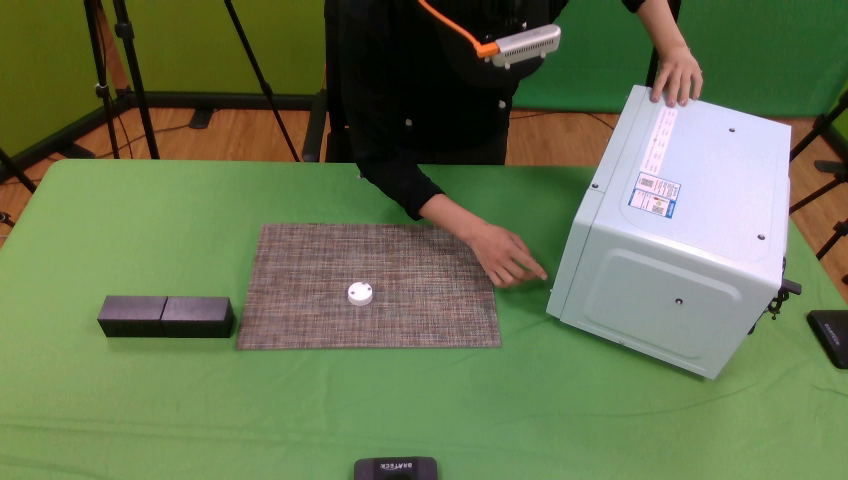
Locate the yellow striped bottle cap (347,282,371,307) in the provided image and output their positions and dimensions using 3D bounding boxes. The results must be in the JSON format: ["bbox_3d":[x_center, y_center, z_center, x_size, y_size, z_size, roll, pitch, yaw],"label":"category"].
[{"bbox_3d":[-0.117,0.098,1.093,0.044,0.019,0.044,3,45,-3],"label":"yellow striped bottle cap"}]

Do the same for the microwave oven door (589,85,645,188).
[{"bbox_3d":[0.341,-0.107,1.149,0.039,0.245,0.354,21,48,15],"label":"microwave oven door"}]

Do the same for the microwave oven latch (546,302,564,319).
[{"bbox_3d":[0.242,0.102,1.081,0.030,0.029,0.079,22,48,17],"label":"microwave oven latch"}]

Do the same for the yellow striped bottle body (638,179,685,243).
[{"bbox_3d":[0.442,-0.056,1.123,0.063,0.121,0.062,-1,47,1],"label":"yellow striped bottle body"}]

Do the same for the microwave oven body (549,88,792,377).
[{"bbox_3d":[0.456,-0.028,1.088,0.325,0.261,0.440,20,47,16],"label":"microwave oven body"}]
